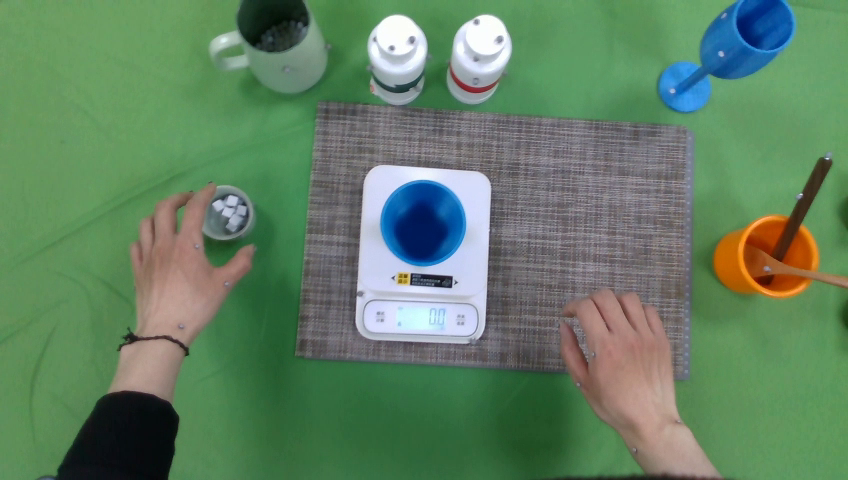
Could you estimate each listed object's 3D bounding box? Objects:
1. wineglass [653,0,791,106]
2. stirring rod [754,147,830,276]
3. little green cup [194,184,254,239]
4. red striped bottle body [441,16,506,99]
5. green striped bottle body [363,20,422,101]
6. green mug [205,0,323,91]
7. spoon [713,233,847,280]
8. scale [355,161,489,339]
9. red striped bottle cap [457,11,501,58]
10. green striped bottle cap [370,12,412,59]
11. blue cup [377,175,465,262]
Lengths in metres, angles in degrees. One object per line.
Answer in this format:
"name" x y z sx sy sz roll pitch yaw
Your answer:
"wineglass" 0.317 -0.206 0.663 0.074 0.172 0.073 0 84 -2
"stirring rod" 0.399 -0.025 0.662 0.014 0.178 0.006 10 43 12
"little green cup" -0.224 -0.030 0.687 0.061 0.038 0.061 0 84 -3
"red striped bottle body" 0.055 -0.207 0.677 0.063 0.120 0.063 0 83 -3
"green striped bottle body" -0.035 -0.204 0.673 0.063 0.119 0.063 0 83 -2
"green mug" -0.180 -0.219 0.675 0.125 0.105 0.092 -19 86 -4
"spoon" 0.415 0.028 0.658 0.022 0.192 0.041 16 91 -44
"scale" -0.001 0.011 0.694 0.149 0.031 0.200 2 85 -2
"red striped bottle cap" 0.057 -0.213 0.625 0.044 0.018 0.044 1 83 -5
"green striped bottle cap" -0.034 -0.210 0.621 0.044 0.020 0.044 0 84 -3
"blue cup" -0.005 -0.017 0.631 0.093 0.100 0.092 0 86 -3
